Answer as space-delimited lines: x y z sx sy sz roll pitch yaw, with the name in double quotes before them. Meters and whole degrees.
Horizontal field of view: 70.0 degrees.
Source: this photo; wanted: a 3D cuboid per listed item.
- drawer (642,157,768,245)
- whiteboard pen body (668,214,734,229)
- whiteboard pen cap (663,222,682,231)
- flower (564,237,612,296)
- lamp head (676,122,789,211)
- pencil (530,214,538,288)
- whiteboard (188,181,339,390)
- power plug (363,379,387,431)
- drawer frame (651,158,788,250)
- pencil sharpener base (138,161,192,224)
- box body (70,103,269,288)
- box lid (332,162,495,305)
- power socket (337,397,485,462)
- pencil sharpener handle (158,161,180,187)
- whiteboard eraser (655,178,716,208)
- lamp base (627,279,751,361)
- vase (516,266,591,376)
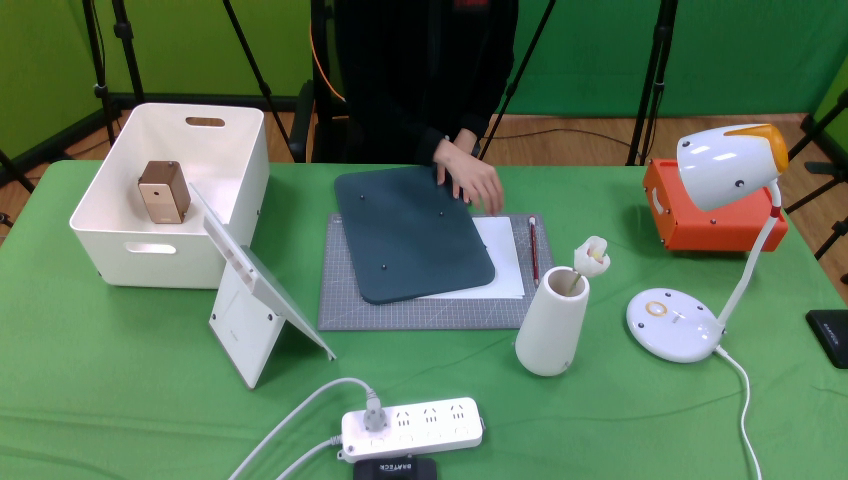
"drawer" 0.564 -0.075 1.210 0.212 0.073 0.193 3 45 -1
"whiteboard pen body" 0.547 -0.035 1.200 0.141 0.017 0.017 -8 48 -9
"whiteboard pen cap" 0.487 -0.027 1.188 0.033 0.018 0.018 0 46 -15
"flower" 0.206 0.088 0.893 0.038 0.363 0.044 -16 67 -9
"lamp head" 0.423 -0.104 0.819 0.122 0.113 0.112 -13 33 40
"pencil" 0.218 0.019 1.202 0.012 0.012 0.193 5 48 1
"whiteboard" -0.292 0.096 0.929 0.144 0.307 0.216 -38 57 -11
"power plug" -0.072 0.252 0.910 0.035 0.053 0.072 3 45 -1
"drawer frame" 0.571 -0.074 1.213 0.214 0.083 0.200 1 46 0
"pencil sharpener base" -0.502 -0.094 1.181 0.061 0.107 0.076 0 45 -2
"box body" -0.450 -0.087 1.149 0.254 0.161 0.361 2 46 -2
"box lid" -0.031 -0.028 1.228 0.264 0.015 0.369 -9 47 -13
"power socket" -0.018 0.285 0.915 0.227 0.033 0.071 -5 46 -8
"pencil sharpener handle" -0.503 -0.138 1.208 0.036 0.068 0.030 2 45 -4
"whiteboard eraser" 0.538 -0.095 1.251 0.113 0.042 0.055 4 52 -10
"lamp base" 0.459 0.100 1.027 0.178 0.181 0.160 27 51 17
"vase" 0.208 0.132 0.964 0.098 0.201 0.097 3 46 -3
